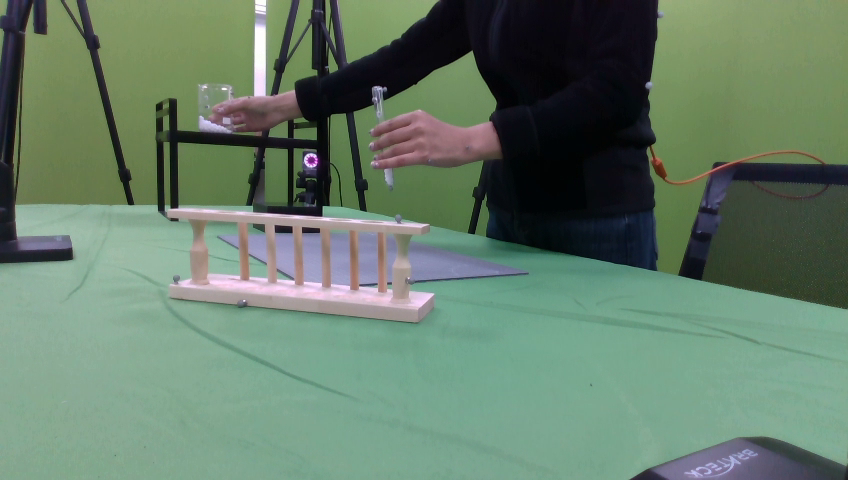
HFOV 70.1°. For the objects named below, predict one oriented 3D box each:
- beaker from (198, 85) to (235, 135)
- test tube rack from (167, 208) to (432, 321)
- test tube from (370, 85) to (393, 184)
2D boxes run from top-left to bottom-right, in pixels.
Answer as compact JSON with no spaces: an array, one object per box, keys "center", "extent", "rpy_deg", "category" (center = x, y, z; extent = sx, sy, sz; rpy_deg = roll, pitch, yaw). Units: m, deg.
[{"center":[-0.439,-0.273,1.275],"extent":[0.074,0.100,0.084],"rpy_deg":[4,8,20],"category":"beaker"},{"center":[-0.116,0.017,0.574],"extent":[0.242,0.085,0.067],"rpy_deg":[4,8,13],"category":"test tube rack"},{"center":[-0.064,-0.158,0.910],"extent":[0.017,0.150,0.017],"rpy_deg":[-8,1,1],"category":"test tube"}]
